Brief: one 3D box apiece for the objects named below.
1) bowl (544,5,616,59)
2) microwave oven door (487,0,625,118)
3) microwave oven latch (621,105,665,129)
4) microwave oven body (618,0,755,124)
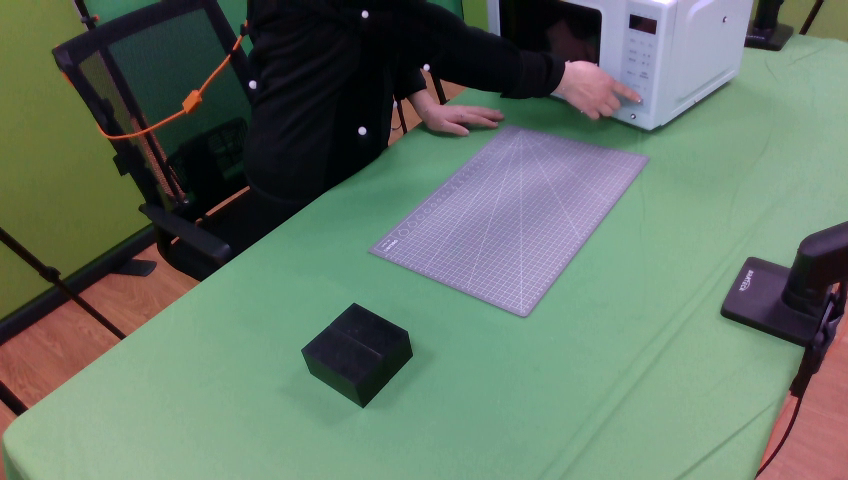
[{"bbox_3d":[0.332,-0.441,1.302,0.151,0.077,0.150,-3,40,3],"label":"bowl"},{"bbox_3d":[0.262,-0.409,1.221,0.039,0.245,0.352,-33,45,-25],"label":"microwave oven door"},{"bbox_3d":[0.413,-0.237,1.146,0.030,0.029,0.078,-31,44,-23],"label":"microwave oven latch"},{"bbox_3d":[0.402,-0.458,1.259,0.327,0.261,0.437,-33,45,-24],"label":"microwave oven body"}]
